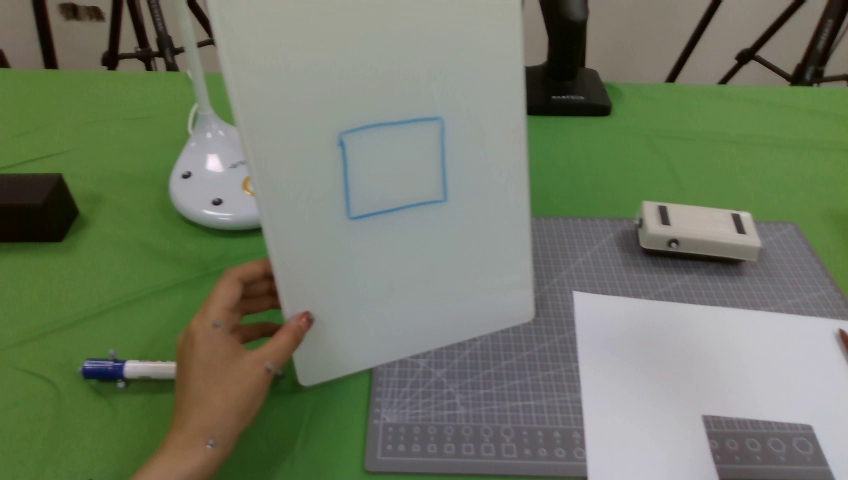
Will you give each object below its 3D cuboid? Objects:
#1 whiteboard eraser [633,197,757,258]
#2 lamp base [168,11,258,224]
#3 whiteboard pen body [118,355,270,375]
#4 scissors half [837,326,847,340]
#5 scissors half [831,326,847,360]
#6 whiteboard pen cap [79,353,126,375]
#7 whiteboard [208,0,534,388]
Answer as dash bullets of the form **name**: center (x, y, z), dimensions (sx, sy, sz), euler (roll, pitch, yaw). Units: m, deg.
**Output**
- **whiteboard eraser**: center (0.273, -0.011, 0.619), dimensions (0.112, 0.042, 0.055), euler (6, 41, 5)
- **lamp base**: center (-0.210, -0.135, 0.634), dimensions (0.177, 0.182, 0.160), euler (30, 49, 31)
- **whiteboard pen body**: center (-0.198, 0.102, 0.493), dimensions (0.141, 0.017, 0.017), euler (1, 42, -6)
- **scissors half**: center (0.362, 0.135, 0.488), dimensions (0.040, 0.013, 0.174), euler (1, 40, 14)
- **scissors half**: center (0.383, 0.134, 0.485), dimensions (0.040, 0.013, 0.173), euler (-7, 40, -4)
- **whiteboard pen cap**: center (-0.257, 0.100, 0.488), dimensions (0.033, 0.018, 0.018), euler (3, 42, -8)
- **whiteboard**: center (-0.038, -0.066, 0.517), dimensions (0.218, 0.307, 0.142), euler (-13, 25, -15)
